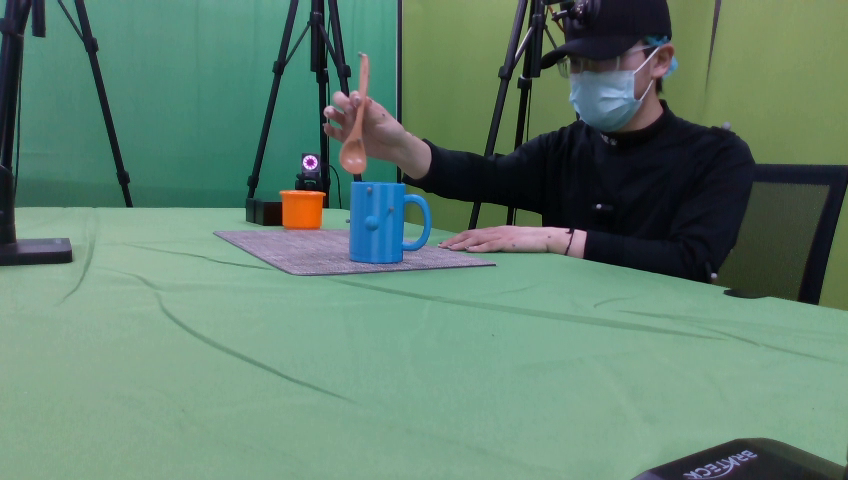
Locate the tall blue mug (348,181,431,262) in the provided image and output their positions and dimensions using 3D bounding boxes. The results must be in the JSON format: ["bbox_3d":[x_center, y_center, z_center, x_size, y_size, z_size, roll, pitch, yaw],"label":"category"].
[{"bbox_3d":[-0.052,-0.028,0.849,0.108,0.108,0.077,-1,7,-22],"label":"tall blue mug"}]

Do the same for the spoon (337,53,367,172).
[{"bbox_3d":[-0.099,-0.192,0.901,0.042,0.193,0.021,12,-12,-21],"label":"spoon"}]
